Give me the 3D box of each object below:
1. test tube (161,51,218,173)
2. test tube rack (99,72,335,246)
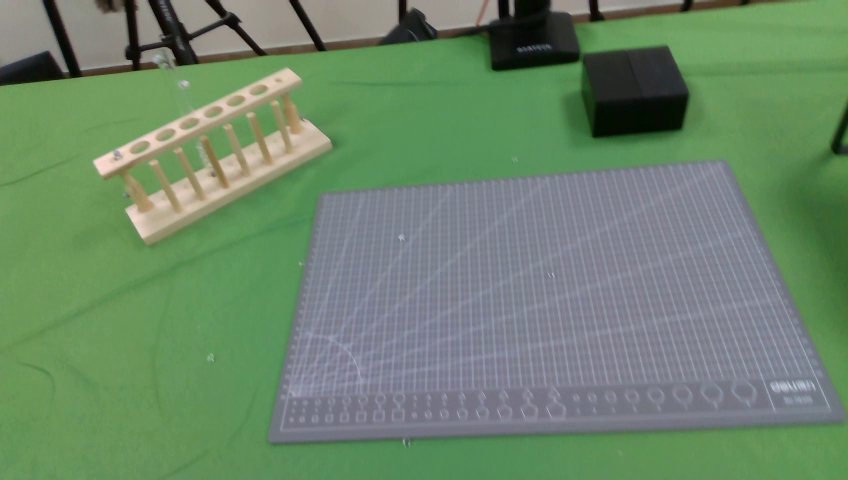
[{"bbox_3d":[-0.256,-0.138,0.676,0.017,0.152,0.017,-5,41,5],"label":"test tube"},{"bbox_3d":[-0.231,-0.098,0.705,0.242,0.086,0.066,-32,51,-19],"label":"test tube rack"}]
